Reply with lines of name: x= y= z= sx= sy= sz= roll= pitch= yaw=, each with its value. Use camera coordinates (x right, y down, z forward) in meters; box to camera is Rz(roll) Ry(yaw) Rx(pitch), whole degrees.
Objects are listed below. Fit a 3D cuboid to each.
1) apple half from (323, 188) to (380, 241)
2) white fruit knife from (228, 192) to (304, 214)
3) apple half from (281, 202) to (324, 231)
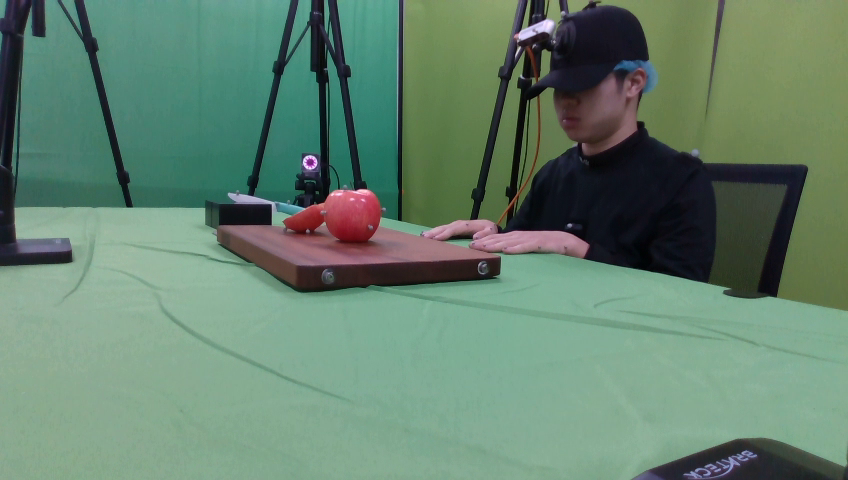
apple half: x=-0.094 y=-0.034 z=0.840 sx=0.081 sy=0.074 sz=0.053 roll=1 pitch=10 yaw=-38
white fruit knife: x=-0.302 y=-0.069 z=1.242 sx=0.208 sy=0.027 sz=0.016 roll=14 pitch=3 yaw=-37
apple half: x=-0.175 y=-0.033 z=0.927 sx=0.081 sy=0.033 sz=0.081 roll=-21 pitch=0 yaw=1
